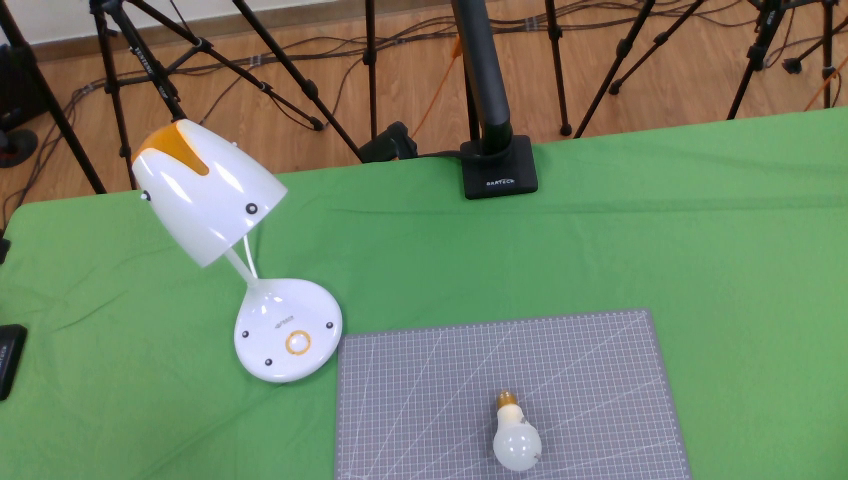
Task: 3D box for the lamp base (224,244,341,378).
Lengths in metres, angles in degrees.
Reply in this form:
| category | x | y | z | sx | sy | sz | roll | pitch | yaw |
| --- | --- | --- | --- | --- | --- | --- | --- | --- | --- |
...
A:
| category | x | y | z | sx | sy | sz | roll | pitch | yaw |
| --- | --- | --- | --- | --- | --- | --- | --- | --- | --- |
| lamp base | -0.221 | 0.081 | 0.836 | 0.160 | 0.182 | 0.177 | -42 | 61 | -16 |

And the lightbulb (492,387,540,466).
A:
| category | x | y | z | sx | sy | sz | roll | pitch | yaw |
| --- | --- | --- | --- | --- | --- | --- | --- | --- | --- |
| lightbulb | 0.113 | 0.236 | 0.779 | 0.059 | 0.060 | 0.106 | -11 | 44 | 2 |

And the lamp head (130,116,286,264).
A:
| category | x | y | z | sx | sy | sz | roll | pitch | yaw |
| --- | --- | --- | --- | --- | --- | --- | --- | --- | --- |
| lamp head | -0.212 | -0.055 | 0.575 | 0.123 | 0.112 | 0.112 | 46 | 71 | -13 |
